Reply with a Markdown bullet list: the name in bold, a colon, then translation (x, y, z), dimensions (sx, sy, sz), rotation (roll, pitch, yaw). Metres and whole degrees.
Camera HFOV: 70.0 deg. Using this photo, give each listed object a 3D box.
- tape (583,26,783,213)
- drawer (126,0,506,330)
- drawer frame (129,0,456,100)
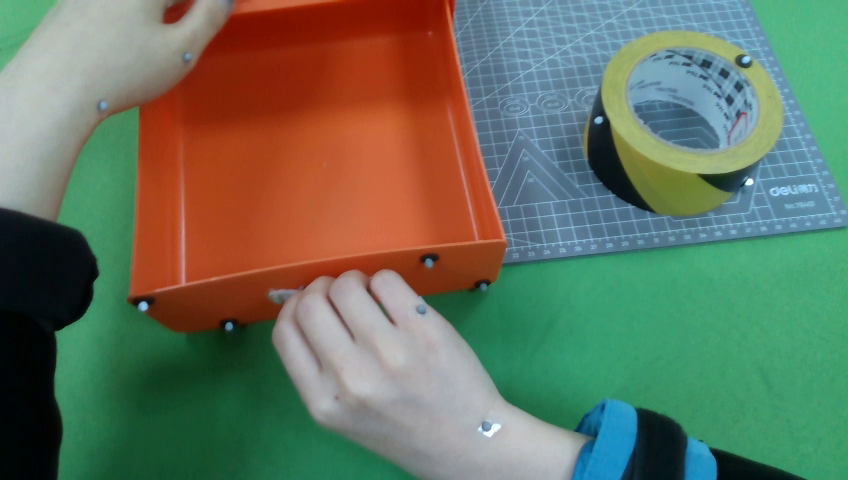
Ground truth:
- **tape**: translation (0.164, -0.077, 0.392), dimensions (0.117, 0.053, 0.116), rotation (0, 65, 1)
- **drawer**: translation (-0.068, -0.063, 0.375), dimensions (0.195, 0.074, 0.210), rotation (-9, 66, -3)
- **drawer frame**: translation (-0.095, -0.217, 0.441), dimensions (0.202, 0.083, 0.211), rotation (-10, 64, -4)
